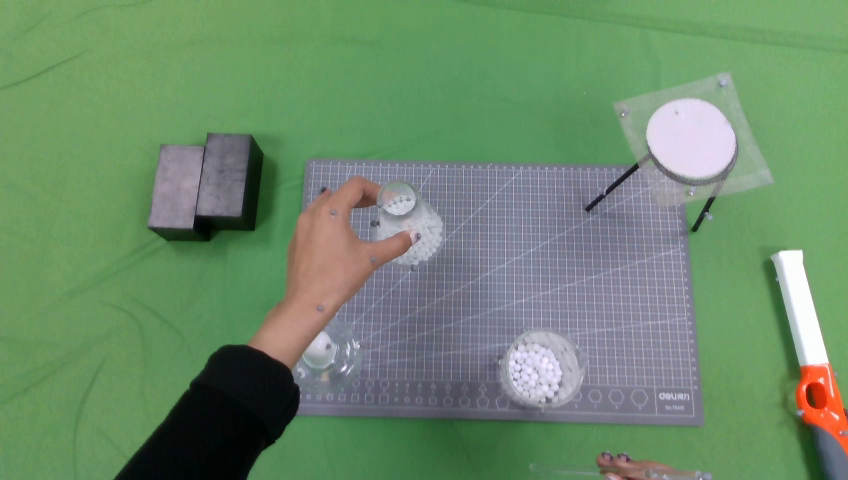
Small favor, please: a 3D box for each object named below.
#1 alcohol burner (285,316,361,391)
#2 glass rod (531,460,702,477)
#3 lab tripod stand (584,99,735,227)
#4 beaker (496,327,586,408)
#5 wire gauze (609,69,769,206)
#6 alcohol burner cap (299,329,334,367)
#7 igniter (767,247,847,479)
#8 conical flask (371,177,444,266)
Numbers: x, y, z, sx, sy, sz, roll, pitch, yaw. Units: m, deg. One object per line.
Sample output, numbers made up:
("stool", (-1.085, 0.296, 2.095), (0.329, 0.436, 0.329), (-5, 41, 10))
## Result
("alcohol burner", (-0.104, 0.113, 0.613), (0.078, 0.119, 0.077), (0, 72, -1))
("glass rod", (0.134, 0.174, 0.461), (0.008, 0.200, 0.008), (7, 70, -20))
("lab tripod stand", (0.259, -0.078, 0.657), (0.148, 0.132, 0.147), (0, 75, -1))
("beaker", (0.114, 0.131, 0.615), (0.084, 0.101, 0.073), (-17, 75, -5))
("wire gauze", (0.260, -0.101, 0.594), (0.125, 0.011, 0.121), (-14, 76, -4))
("alcohol burner cap", (-0.104, 0.101, 0.579), (0.034, 0.048, 0.033), (2, 67, -5))
("igniter", (0.418, 0.142, 0.651), (0.057, 0.025, 0.275), (-2, 74, -11))
("conical flask", (-0.020, -0.022, 0.572), (0.075, 0.122, 0.075), (-1, 76, 3))
